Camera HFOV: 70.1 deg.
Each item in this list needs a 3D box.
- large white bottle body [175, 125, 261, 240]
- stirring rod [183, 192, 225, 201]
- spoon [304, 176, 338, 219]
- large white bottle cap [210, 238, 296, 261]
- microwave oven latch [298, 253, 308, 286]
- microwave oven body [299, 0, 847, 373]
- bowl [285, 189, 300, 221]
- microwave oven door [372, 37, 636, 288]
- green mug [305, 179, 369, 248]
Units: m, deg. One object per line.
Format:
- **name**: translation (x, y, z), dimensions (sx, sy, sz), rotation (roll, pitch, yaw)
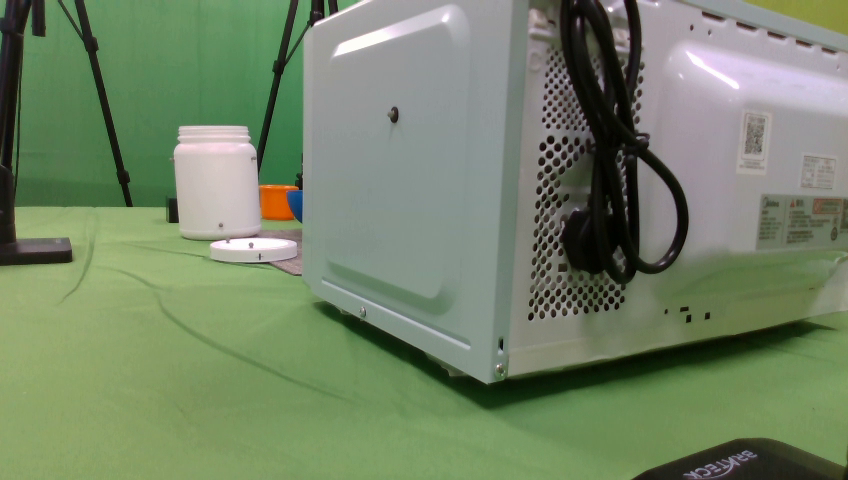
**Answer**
- **large white bottle body**: translation (-0.349, -0.100, 1.025), dimensions (0.131, 0.184, 0.130), rotation (-1, 9, 0)
- **stirring rod**: translation (-0.473, -0.094, 1.293), dimensions (0.175, 0.006, 0.014), rotation (11, 7, 44)
- **spoon**: translation (-0.201, -0.084, 1.146), dimensions (0.042, 0.021, 0.193), rotation (2, 31, -24)
- **large white bottle cap**: translation (-0.236, 0.012, 0.839), dimensions (0.115, 0.018, 0.115), rotation (1, 7, 0)
- **microwave oven latch**: translation (-0.081, 0.027, 0.582), dimensions (0.079, 0.029, 0.030), rotation (-2, 7, -32)
- **microwave oven body**: translation (0.152, -0.055, 0.542), dimensions (0.444, 0.260, 0.324), rotation (-2, 7, -33)
- **bowl**: translation (-0.180, -0.050, 1.113), dimensions (0.151, 0.077, 0.151), rotation (3, 8, 0)
- **microwave oven door**: translation (0.110, -0.080, 0.686), dimensions (0.358, 0.243, 0.039), rotation (-2, 9, -33)
- **green mug**: translation (-0.133, -0.044, 0.977), dimensions (0.092, 0.105, 0.126), rotation (6, 8, 31)
